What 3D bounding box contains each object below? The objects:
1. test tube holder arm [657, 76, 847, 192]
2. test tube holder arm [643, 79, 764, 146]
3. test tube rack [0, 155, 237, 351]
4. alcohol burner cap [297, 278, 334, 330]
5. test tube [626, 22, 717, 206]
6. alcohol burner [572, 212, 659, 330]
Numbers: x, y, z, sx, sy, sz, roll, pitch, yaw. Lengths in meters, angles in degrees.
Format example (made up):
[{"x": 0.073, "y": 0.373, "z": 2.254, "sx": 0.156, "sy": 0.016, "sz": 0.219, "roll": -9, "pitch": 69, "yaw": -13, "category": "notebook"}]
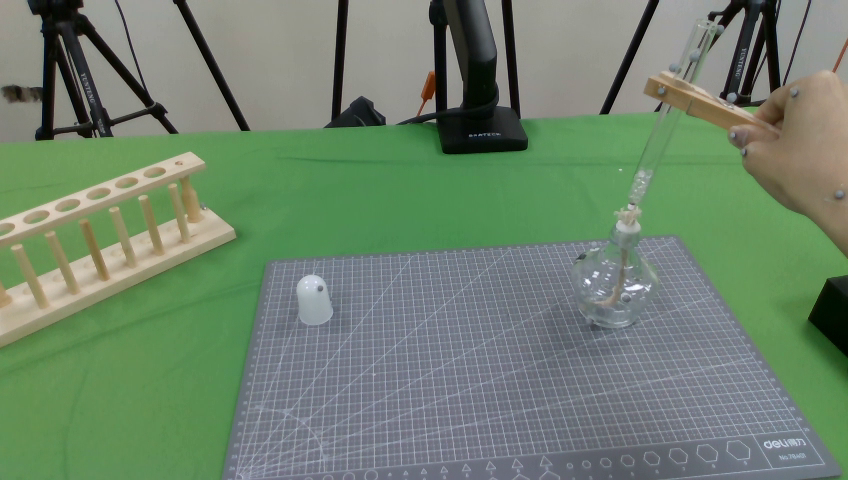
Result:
[{"x": 0.229, "y": -0.069, "z": 0.405, "sx": 0.013, "sy": 0.015, "sz": 0.176, "roll": -24, "pitch": 49, "yaw": -31, "category": "test tube holder arm"}, {"x": 0.196, "y": -0.091, "z": 0.426, "sx": 0.087, "sy": 0.015, "sz": 0.010, "roll": 35, "pitch": 48, "yaw": 29, "category": "test tube holder arm"}, {"x": -0.320, "y": 0.004, "z": 0.608, "sx": 0.242, "sy": 0.086, "sz": 0.066, "roll": -30, "pitch": 45, "yaw": -33, "category": "test tube rack"}, {"x": -0.103, "y": 0.056, "z": 0.566, "sx": 0.034, "sy": 0.048, "sz": 0.033, "roll": 0, "pitch": 37, "yaw": 1, "category": "alcohol burner cap"}, {"x": 0.182, "y": -0.088, "z": 0.455, "sx": 0.017, "sy": 0.151, "sz": 0.017, "roll": 5, "pitch": 40, "yaw": -4, "category": "test tube"}, {"x": 0.174, "y": 0.023, "z": 0.544, "sx": 0.078, "sy": 0.120, "sz": 0.077, "roll": 0, "pitch": 39, "yaw": 0, "category": "alcohol burner"}]
